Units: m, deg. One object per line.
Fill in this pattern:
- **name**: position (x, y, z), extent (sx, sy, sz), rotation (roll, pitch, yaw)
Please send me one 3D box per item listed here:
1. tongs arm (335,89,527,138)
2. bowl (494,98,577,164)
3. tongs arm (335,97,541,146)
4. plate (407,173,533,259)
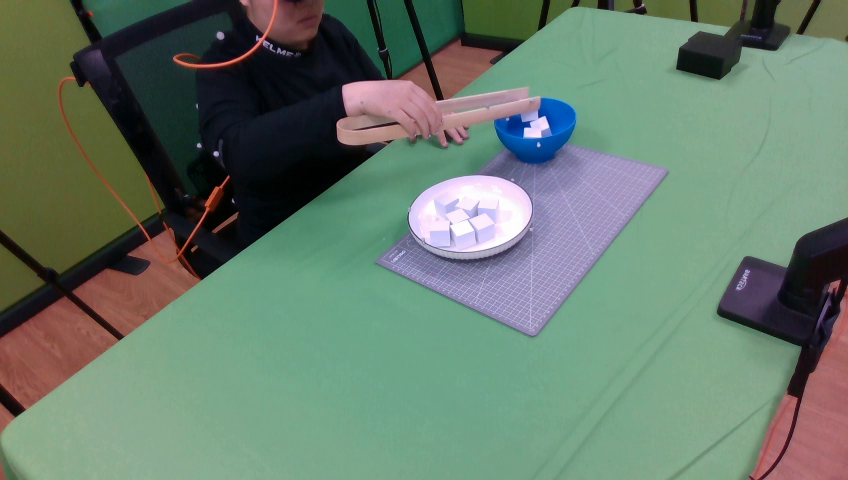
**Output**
- **tongs arm**: position (0.023, -0.226, 1.067), extent (0.390, 0.028, 0.028), rotation (-15, 44, -23)
- **bowl**: position (0.207, -0.195, 1.128), extent (0.151, 0.077, 0.150), rotation (-5, 40, 5)
- **tongs arm**: position (0.035, -0.212, 1.047), extent (0.387, 0.026, 0.050), rotation (-17, 41, -25)
- **plate**: position (0.076, -0.037, 0.997), extent (0.207, 0.039, 0.206), rotation (-5, 40, 5)
